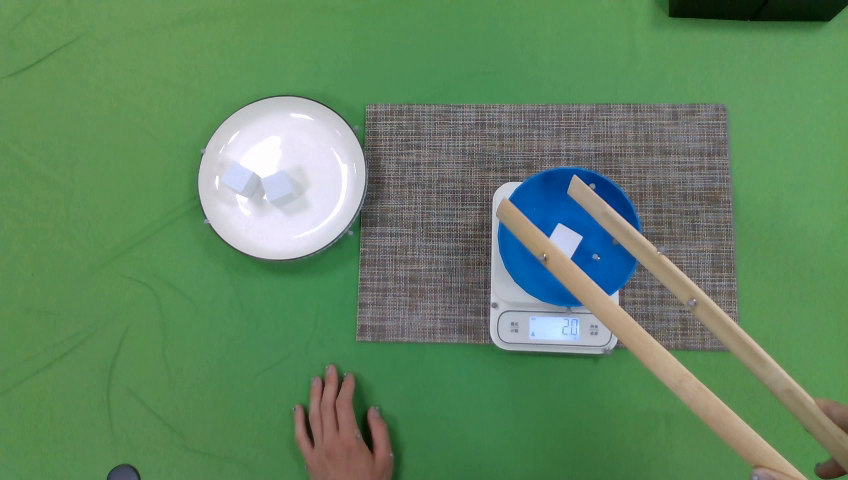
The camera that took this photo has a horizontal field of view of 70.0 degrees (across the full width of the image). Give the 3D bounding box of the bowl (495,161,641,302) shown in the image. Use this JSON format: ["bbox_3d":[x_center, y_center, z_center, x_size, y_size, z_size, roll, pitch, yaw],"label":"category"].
[{"bbox_3d":[0.151,-0.004,0.666,0.151,0.077,0.151,0,82,2],"label":"bowl"}]

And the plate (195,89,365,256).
[{"bbox_3d":[-0.174,-0.081,0.748,0.207,0.039,0.207,0,81,3],"label":"plate"}]

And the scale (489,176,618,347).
[{"bbox_3d":[0.153,0.024,0.715,0.148,0.031,0.200,1,82,3],"label":"scale"}]

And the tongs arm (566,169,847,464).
[{"bbox_3d":[0.230,0.070,0.499,0.051,0.027,0.381,-19,54,-30],"label":"tongs arm"}]

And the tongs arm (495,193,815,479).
[{"bbox_3d":[0.187,0.085,0.474,0.028,0.028,0.384,-21,54,-35],"label":"tongs arm"}]
